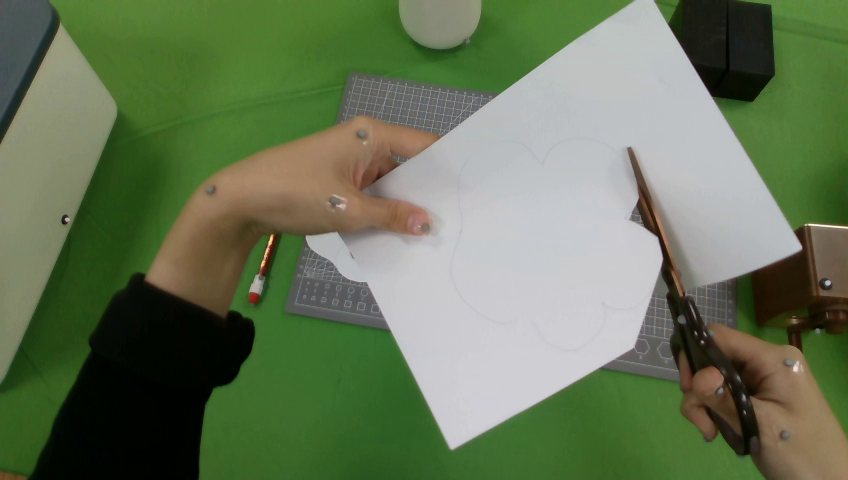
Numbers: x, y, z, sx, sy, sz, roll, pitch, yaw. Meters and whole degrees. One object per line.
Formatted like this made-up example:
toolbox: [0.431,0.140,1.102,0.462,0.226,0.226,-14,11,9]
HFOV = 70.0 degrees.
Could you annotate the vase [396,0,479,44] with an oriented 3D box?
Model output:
vase: [0.014,-0.309,0.655,0.098,0.201,0.097,0,67,1]

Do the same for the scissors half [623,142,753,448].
scissors half: [0.140,0.028,0.326,0.013,0.040,0.174,-20,84,2]

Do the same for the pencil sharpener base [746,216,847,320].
pencil sharpener base: [0.361,0.034,0.572,0.061,0.108,0.076,5,69,2]

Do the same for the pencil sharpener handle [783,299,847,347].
pencil sharpener handle: [0.352,0.076,0.542,0.036,0.068,0.030,10,69,-11]

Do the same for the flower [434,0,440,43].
flower: [0.009,-0.353,0.583,0.044,0.365,0.038,2,51,5]

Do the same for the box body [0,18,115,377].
box body: [-0.493,-0.054,0.576,0.254,0.161,0.362,9,69,4]

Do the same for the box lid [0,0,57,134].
box lid: [-0.494,-0.084,0.507,0.263,0.015,0.369,10,69,3]

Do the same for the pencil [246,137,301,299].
pencil: [-0.158,-0.029,0.649,0.012,0.012,0.193,10,68,5]

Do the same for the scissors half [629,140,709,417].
scissors half: [0.141,0.025,0.348,0.013,0.040,0.176,-19,109,7]
